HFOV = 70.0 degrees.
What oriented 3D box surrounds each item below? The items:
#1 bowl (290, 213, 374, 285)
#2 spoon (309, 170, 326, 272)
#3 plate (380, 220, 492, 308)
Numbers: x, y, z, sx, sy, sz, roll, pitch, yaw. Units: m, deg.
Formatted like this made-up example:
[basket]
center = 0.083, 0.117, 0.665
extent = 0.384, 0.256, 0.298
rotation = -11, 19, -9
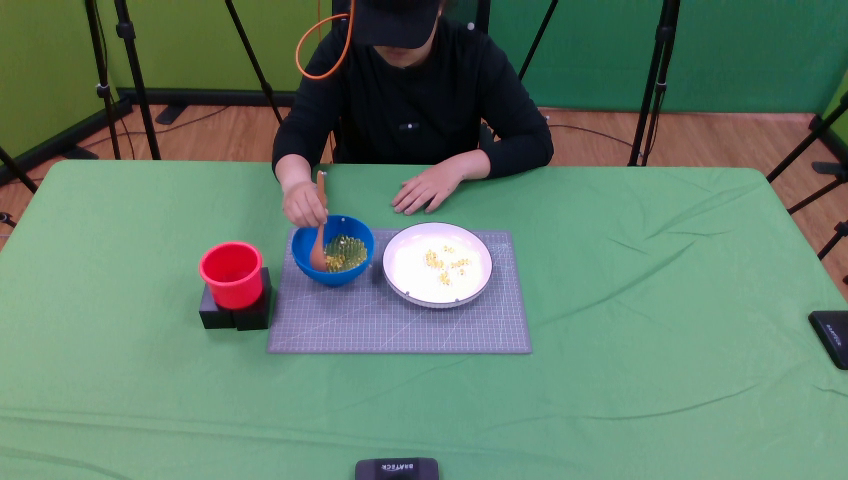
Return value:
[bowl]
center = -0.166, 0.030, 1.113
extent = 0.151, 0.077, 0.150
rotation = 2, 46, -2
[spoon]
center = -0.183, -0.027, 1.051
extent = 0.041, 0.194, 0.022
rotation = 18, 20, 36
[plate]
center = 0.022, 0.048, 1.137
extent = 0.208, 0.039, 0.206
rotation = 2, 46, -2
